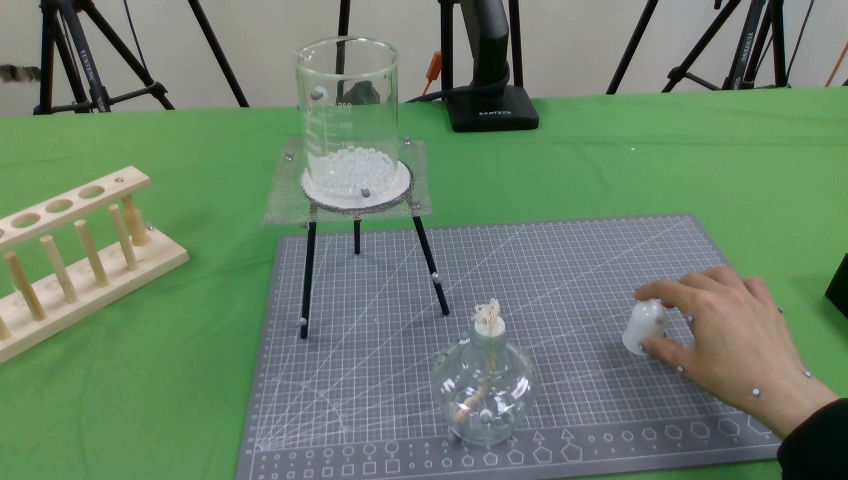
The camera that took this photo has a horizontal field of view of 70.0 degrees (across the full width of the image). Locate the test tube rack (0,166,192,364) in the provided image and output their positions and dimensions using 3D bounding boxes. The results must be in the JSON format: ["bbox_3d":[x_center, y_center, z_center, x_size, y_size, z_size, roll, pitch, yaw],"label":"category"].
[{"bbox_3d":[-0.336,0.030,0.525,0.066,0.086,0.242,28,46,31],"label":"test tube rack"}]

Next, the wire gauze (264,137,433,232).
[{"bbox_3d":[-0.056,-0.049,0.476,0.121,0.011,0.124,-1,40,-2],"label":"wire gauze"}]

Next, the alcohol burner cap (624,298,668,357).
[{"bbox_3d":[0.187,0.070,0.505,0.034,0.048,0.033,-1,37,1],"label":"alcohol burner cap"}]

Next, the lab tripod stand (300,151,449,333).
[{"bbox_3d":[-0.048,0.001,0.519,0.148,0.132,0.147,1,37,-1],"label":"lab tripod stand"}]

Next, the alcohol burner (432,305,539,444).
[{"bbox_3d":[0.044,0.088,0.424,0.078,0.120,0.077,1,40,0],"label":"alcohol burner"}]

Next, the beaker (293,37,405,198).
[{"bbox_3d":[-0.056,-0.089,0.448,0.083,0.101,0.074,22,42,23],"label":"beaker"}]

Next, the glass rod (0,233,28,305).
[{"bbox_3d":[-0.359,-0.029,0.493,0.008,0.201,0.008,1,30,0],"label":"glass rod"}]
